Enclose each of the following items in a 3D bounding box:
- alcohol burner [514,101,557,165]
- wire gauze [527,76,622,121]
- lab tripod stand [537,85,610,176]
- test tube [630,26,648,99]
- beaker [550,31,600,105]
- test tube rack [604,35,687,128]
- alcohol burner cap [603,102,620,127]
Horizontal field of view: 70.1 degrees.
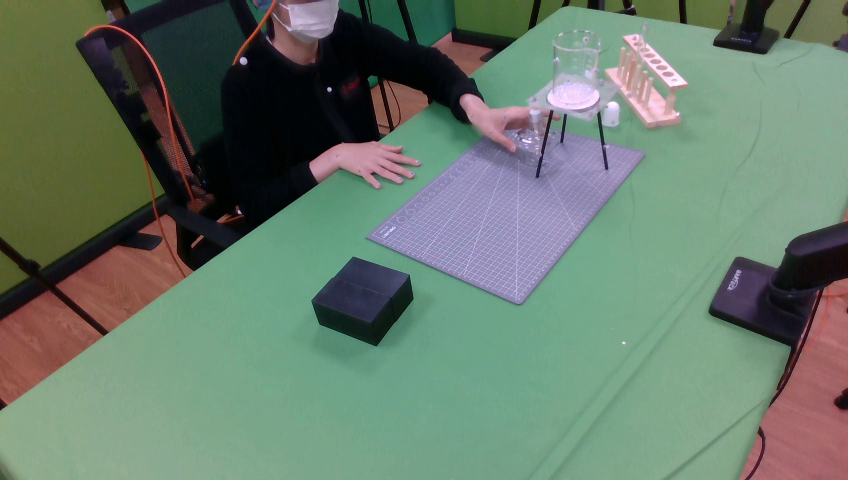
[{"bbox_3d":[0.202,-0.197,1.098,0.078,0.119,0.077,-6,41,6],"label":"alcohol burner"},{"bbox_3d":[0.255,-0.247,1.030,0.124,0.011,0.122,23,49,34],"label":"wire gauze"},{"bbox_3d":[0.259,-0.192,1.068,0.148,0.132,0.147,-4,43,4],"label":"lab tripod stand"},{"bbox_3d":[0.426,-0.350,1.199,0.017,0.151,0.017,-4,42,4],"label":"test tube"},{"bbox_3d":[0.250,-0.281,0.996,0.074,0.101,0.083,-37,49,-27],"label":"beaker"},{"bbox_3d":[0.447,-0.330,1.241,0.067,0.085,0.241,-9,41,-2],"label":"test tube rack"},{"bbox_3d":[0.371,-0.249,1.193,0.034,0.048,0.033,-5,41,5],"label":"alcohol burner cap"}]
